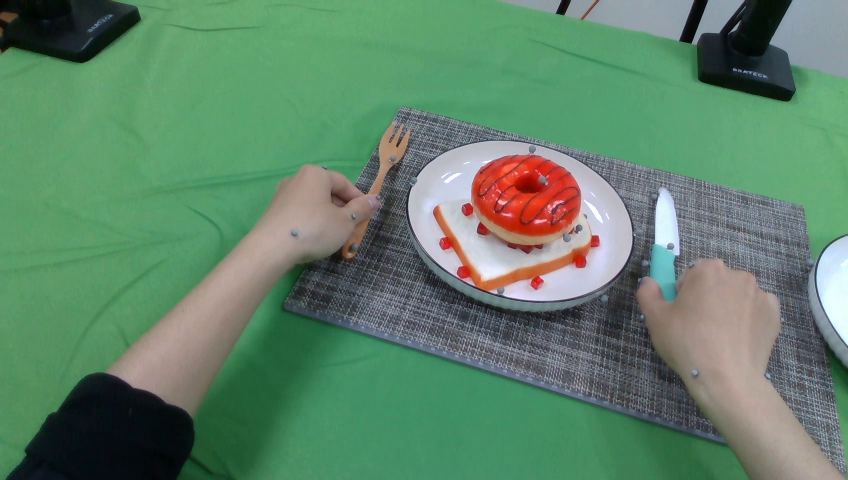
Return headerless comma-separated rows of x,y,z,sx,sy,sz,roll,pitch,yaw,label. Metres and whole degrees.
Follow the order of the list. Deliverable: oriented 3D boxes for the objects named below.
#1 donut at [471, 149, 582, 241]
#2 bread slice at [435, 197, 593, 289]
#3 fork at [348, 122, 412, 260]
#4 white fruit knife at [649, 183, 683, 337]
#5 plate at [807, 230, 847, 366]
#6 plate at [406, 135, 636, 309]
0.090,-0.041,0.534,0.099,0.048,0.098,3,48,-3,donut
0.088,-0.014,0.560,0.132,0.019,0.103,-16,53,-18,bread slice
-0.041,-0.055,0.586,0.028,0.019,0.205,2,41,13,fork
0.223,0.008,0.561,0.027,0.016,0.206,11,43,12,white fruit knife
0.433,0.076,0.521,0.208,0.039,0.205,3,48,-3,plate
0.086,-0.018,0.561,0.209,0.038,0.207,3,49,-3,plate
